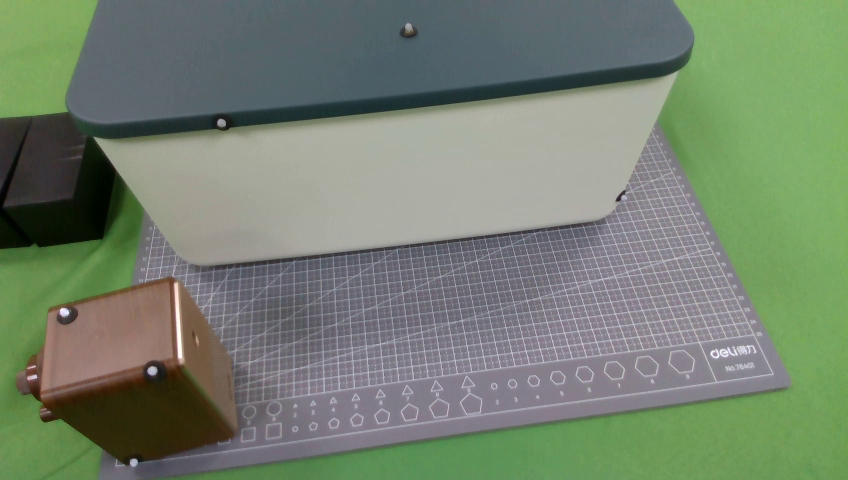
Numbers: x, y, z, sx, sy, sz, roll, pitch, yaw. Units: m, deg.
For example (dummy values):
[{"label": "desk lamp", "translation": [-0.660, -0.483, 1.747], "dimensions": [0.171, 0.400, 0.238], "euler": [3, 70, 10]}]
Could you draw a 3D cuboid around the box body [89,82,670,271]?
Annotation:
[{"label": "box body", "translation": [-0.033, -0.129, 0.478], "dimensions": [0.364, 0.162, 0.251], "euler": [-7, 53, -4]}]

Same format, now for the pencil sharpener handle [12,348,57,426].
[{"label": "pencil sharpener handle", "translation": [-0.213, 0.087, 0.337], "dimensions": [0.031, 0.068, 0.035], "euler": [-14, 57, -8]}]

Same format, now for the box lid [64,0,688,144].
[{"label": "box lid", "translation": [-0.037, -0.175, 0.418], "dimensions": [0.372, 0.015, 0.260], "euler": [-7, 53, -4]}]

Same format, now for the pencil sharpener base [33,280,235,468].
[{"label": "pencil sharpener base", "translation": [-0.164, 0.083, 0.355], "dimensions": [0.077, 0.108, 0.060], "euler": [-14, 55, -8]}]
